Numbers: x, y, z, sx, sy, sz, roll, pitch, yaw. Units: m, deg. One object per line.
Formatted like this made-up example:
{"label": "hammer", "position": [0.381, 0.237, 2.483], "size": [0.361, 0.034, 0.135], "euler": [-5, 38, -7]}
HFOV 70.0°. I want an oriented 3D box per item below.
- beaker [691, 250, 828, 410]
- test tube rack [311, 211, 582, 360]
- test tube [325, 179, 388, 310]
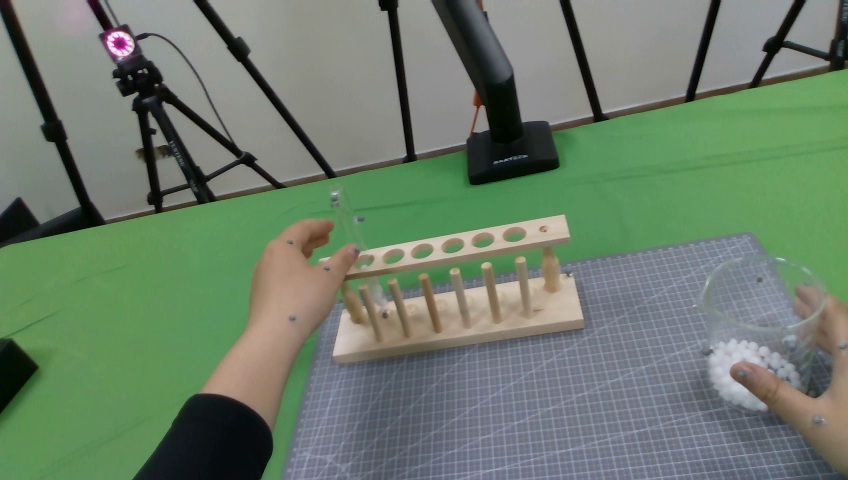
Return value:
{"label": "beaker", "position": [0.240, 0.069, 0.442], "size": [0.084, 0.101, 0.073], "euler": [-11, 36, 12]}
{"label": "test tube rack", "position": [0.020, 0.046, 0.577], "size": [0.242, 0.086, 0.066], "euler": [-10, 37, 10]}
{"label": "test tube", "position": [-0.061, 0.009, 0.575], "size": [0.017, 0.151, 0.017], "euler": [-12, 34, 9]}
